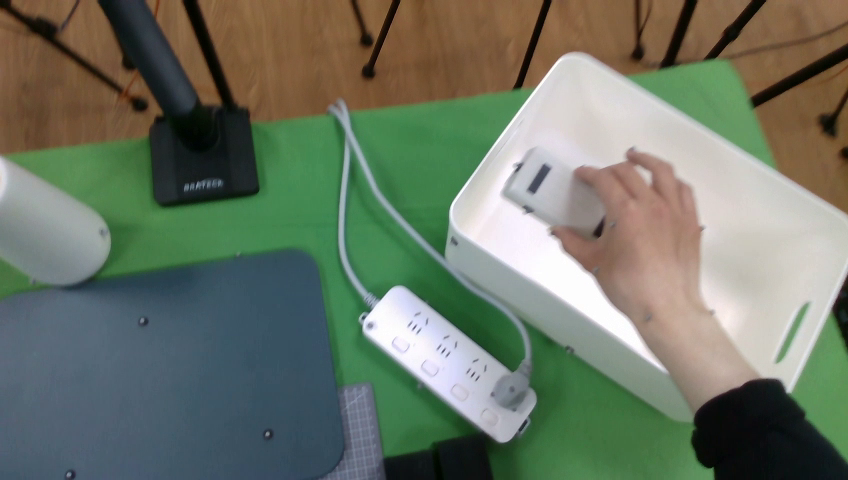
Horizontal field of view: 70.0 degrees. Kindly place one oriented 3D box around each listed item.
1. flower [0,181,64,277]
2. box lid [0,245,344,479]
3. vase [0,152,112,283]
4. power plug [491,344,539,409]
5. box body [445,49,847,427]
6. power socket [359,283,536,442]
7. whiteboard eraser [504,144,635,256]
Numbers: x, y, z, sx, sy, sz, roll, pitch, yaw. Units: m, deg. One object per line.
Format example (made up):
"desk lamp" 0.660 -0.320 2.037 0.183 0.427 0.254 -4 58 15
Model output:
"flower" -0.390 -0.063 0.538 0.044 0.364 0.038 27 56 10
"box lid" -0.284 0.154 0.666 0.372 0.015 0.261 -10 74 -7
"vase" -0.399 -0.023 0.612 0.098 0.201 0.097 2 71 -5
"power plug" 0.105 0.154 0.663 0.072 0.053 0.035 -39 78 -18
"box body" 0.228 0.005 0.673 0.363 0.161 0.253 34 74 6
"power socket" 0.027 0.137 0.685 0.226 0.033 0.072 38 74 8
"whiteboard eraser" 0.135 -0.037 0.566 0.113 0.042 0.055 33 83 -3
